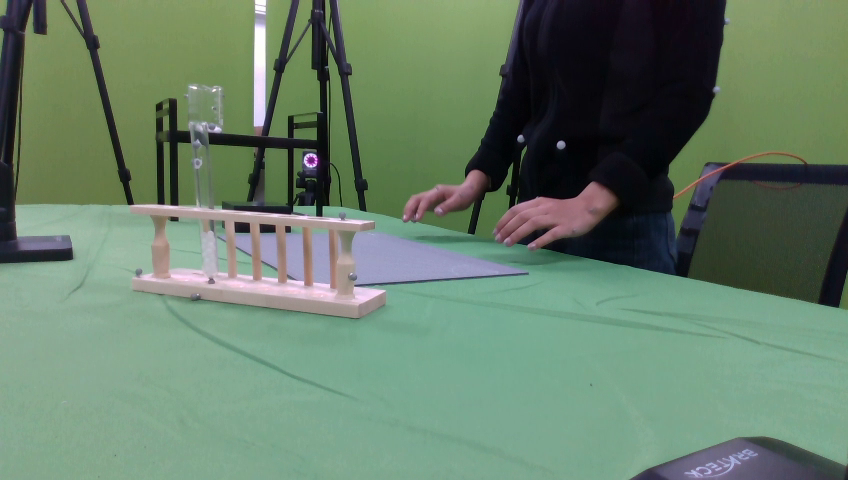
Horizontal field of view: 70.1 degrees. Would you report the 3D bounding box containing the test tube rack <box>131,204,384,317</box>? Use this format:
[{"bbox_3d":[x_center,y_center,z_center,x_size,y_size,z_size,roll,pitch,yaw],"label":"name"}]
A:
[{"bbox_3d":[-0.162,0.014,0.589,0.242,0.085,0.067,5,8,17],"label":"test tube rack"}]

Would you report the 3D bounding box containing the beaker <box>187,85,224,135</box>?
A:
[{"bbox_3d":[-0.466,-0.276,1.296,0.074,0.100,0.083,-3,10,-35],"label":"beaker"}]

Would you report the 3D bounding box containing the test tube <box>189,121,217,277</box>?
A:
[{"bbox_3d":[-0.210,-0.037,0.576,0.017,0.150,0.017,1,14,0],"label":"test tube"}]
